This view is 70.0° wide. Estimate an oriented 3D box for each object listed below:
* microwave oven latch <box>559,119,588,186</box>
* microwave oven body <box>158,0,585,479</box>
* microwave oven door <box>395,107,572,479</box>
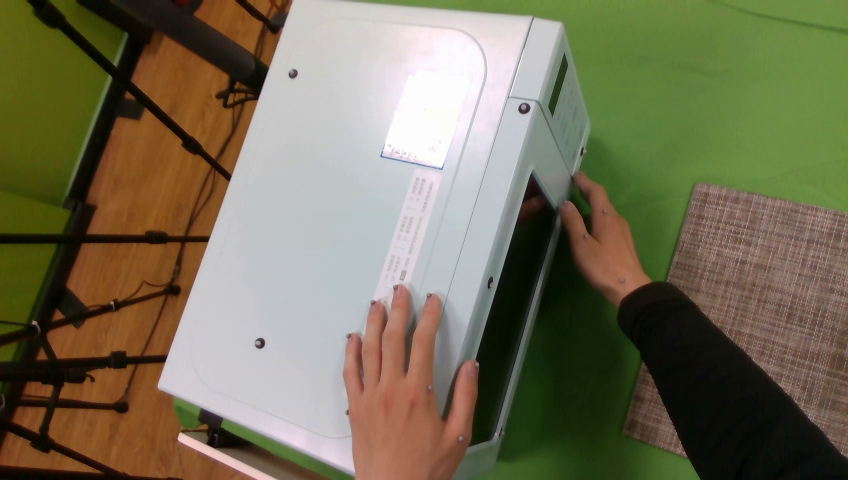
[{"bbox_3d":[0.177,-0.108,0.735,0.030,0.030,0.079,15,84,23],"label":"microwave oven latch"},{"bbox_3d":[-0.042,0.004,0.687,0.324,0.262,0.440,14,84,23],"label":"microwave oven body"},{"bbox_3d":[0.073,0.075,0.620,0.039,0.246,0.355,14,83,24],"label":"microwave oven door"}]
